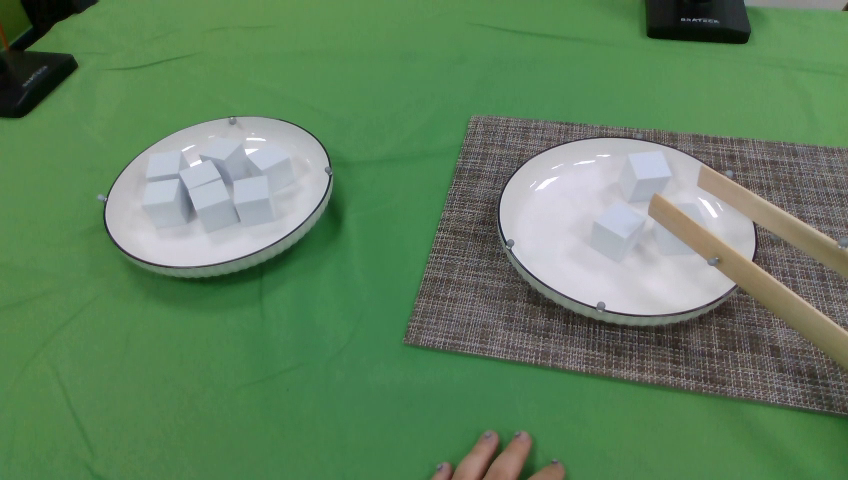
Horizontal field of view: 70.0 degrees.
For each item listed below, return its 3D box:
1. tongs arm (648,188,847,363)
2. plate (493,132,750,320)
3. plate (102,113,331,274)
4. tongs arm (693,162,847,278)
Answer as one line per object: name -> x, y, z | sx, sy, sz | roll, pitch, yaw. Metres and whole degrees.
tongs arm -> 0.288, 0.077, 0.365 | 0.028, 0.028, 0.383 | -27, 50, -22
plate -> 0.162, -0.014, 0.519 | 0.207, 0.039, 0.205 | -2, 49, 3
plate -> -0.190, -0.044, 0.576 | 0.209, 0.038, 0.207 | -2, 48, 2
tongs arm -> 0.315, 0.062, 0.374 | 0.051, 0.027, 0.380 | -31, 52, -20
